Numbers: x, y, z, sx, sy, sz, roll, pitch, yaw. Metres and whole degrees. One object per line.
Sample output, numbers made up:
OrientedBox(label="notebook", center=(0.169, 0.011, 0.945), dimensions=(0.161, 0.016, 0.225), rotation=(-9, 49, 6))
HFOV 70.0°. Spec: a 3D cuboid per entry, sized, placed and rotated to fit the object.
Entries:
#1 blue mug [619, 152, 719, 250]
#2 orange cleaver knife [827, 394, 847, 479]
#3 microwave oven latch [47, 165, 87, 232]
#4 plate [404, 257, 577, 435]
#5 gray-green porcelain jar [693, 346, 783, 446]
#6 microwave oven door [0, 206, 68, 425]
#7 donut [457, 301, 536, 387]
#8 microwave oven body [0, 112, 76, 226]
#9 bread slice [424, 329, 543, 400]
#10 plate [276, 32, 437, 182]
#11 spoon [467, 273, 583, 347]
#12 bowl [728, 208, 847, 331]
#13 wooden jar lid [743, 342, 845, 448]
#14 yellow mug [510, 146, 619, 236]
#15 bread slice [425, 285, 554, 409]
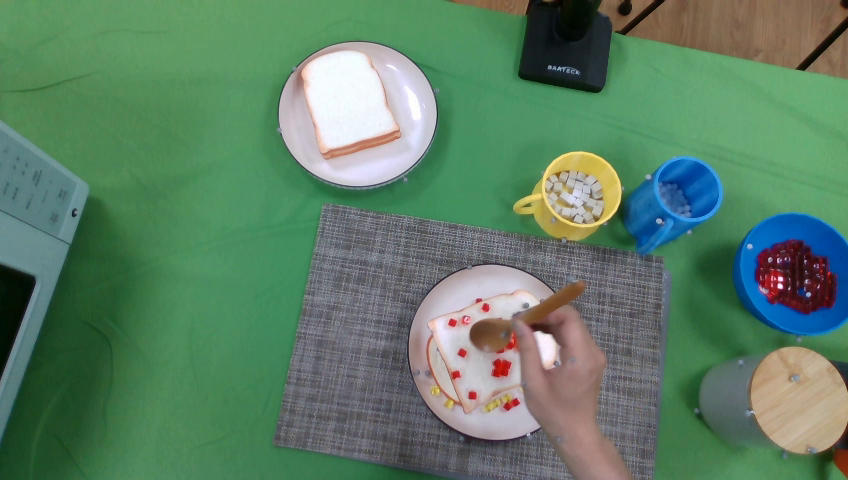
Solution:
OrientedBox(label="blue mug", center=(0.294, -0.039, 0.753), dimensions=(0.082, 0.106, 0.116), rotation=(30, 77, 5))
OrientedBox(label="orange cleaver knife", center=(0.497, 0.249, 0.704), dimensions=(0.012, 0.077, 0.212), rotation=(9, 102, 0))
OrientedBox(label="microwave oven latch", center=(-0.435, -0.052, 0.730), dimensions=(0.030, 0.029, 0.079), rotation=(15, 76, 0))
OrientedBox(label="plate", center=(0.079, 0.126, 0.731), dimensions=(0.209, 0.038, 0.208), rotation=(1, 76, -3))
OrientedBox(label="gray-green porcelain jar", center=(0.380, 0.177, 0.693), dimensions=(0.106, 0.127, 0.105), rotation=(1, 76, -3))
OrientedBox(label="microwave oven door", center=(-0.477, 0.130, 0.579), dimensions=(0.039, 0.245, 0.354), rotation=(12, 76, 1))
OrientedBox(label="donut", center=(0.085, 0.121, 0.704), dimensions=(0.099, 0.048, 0.098), rotation=(5, 77, -20))
OrientedBox(label="microwave oven body", center=(-0.612, 0.061, 0.593), dimensions=(0.326, 0.261, 0.439), rotation=(12, 76, 0))
OrientedBox(label="bread slice", center=(0.068, 0.134, 0.733), dimensions=(0.132, 0.019, 0.104), rotation=(-21, 77, -11))
OrientedBox(label="plate", center=(-0.088, -0.172, 0.799), dimensions=(0.208, 0.039, 0.206), rotation=(1, 76, -3))
OrientedBox(label="spoon", center=(0.092, 0.070, 0.574), dimensions=(0.041, 0.194, 0.021), rotation=(41, 61, -2))
OrientedBox(label="bowl", center=(0.441, 0.042, 0.754), dimensions=(0.151, 0.077, 0.150), rotation=(1, 76, -3))
OrientedBox(label="wooden jar lid", center=(0.382, 0.161, 0.633), dimensions=(0.108, 0.021, 0.108), rotation=(1, 79, -4))
OrientedBox(label="yellow mug", center=(0.174, -0.058, 0.771), dimensions=(0.131, 0.064, 0.099), rotation=(-10, 76, -4))
OrientedBox(label="bread slice", center=(0.078, 0.109, 0.675), dimensions=(0.134, 0.018, 0.106), rotation=(-24, 84, -14))
